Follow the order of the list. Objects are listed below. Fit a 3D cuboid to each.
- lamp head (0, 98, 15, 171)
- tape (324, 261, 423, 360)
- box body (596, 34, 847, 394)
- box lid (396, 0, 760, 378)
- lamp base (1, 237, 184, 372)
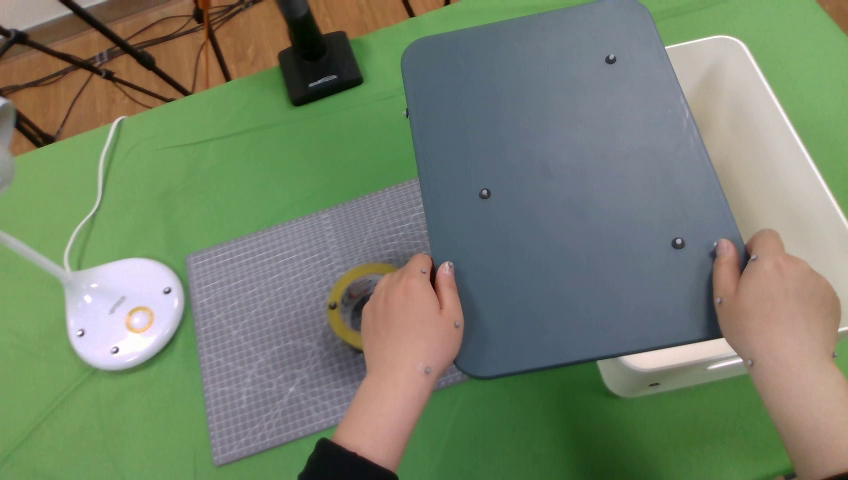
[{"bbox_3d":[-0.420,-0.082,0.493,0.123,0.112,0.111,18,63,-19],"label":"lamp head"},{"bbox_3d":[-0.063,0.086,0.755,0.117,0.053,0.116,-3,63,7],"label":"tape"},{"bbox_3d":[0.283,-0.027,0.696,0.254,0.162,0.360,-14,63,2],"label":"box body"},{"bbox_3d":[0.122,-0.072,0.567,0.263,0.015,0.368,-11,65,3],"label":"box lid"},{"bbox_3d":[-0.425,0.062,0.756,0.178,0.182,0.160,16,67,19],"label":"lamp base"}]
